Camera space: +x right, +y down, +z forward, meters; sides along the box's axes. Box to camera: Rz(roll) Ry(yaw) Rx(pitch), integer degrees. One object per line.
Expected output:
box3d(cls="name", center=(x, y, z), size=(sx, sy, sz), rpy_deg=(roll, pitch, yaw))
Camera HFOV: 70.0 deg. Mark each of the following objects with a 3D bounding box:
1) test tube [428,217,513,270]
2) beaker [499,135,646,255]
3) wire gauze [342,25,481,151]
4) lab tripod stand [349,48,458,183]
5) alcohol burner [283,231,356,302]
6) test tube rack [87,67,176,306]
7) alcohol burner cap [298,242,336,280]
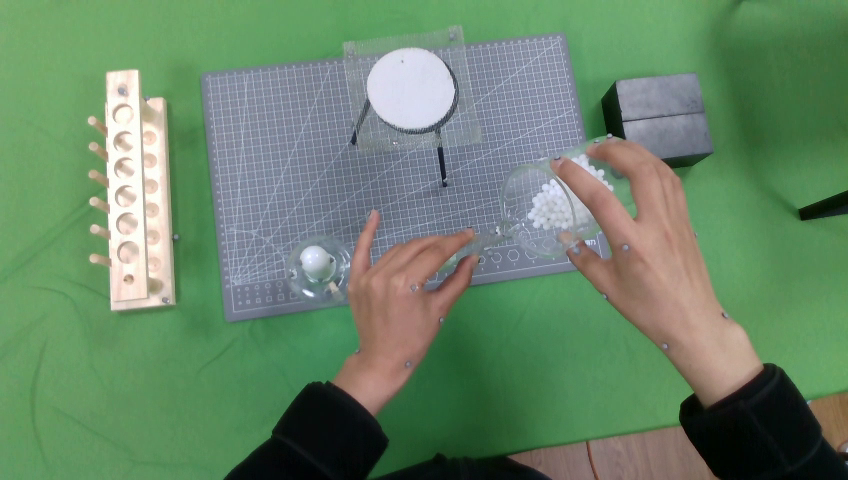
box3d(cls="test tube", center=(0.037, 0.006, 0.551), size=(0.017, 0.150, 0.017), rpy_deg=(6, 74, -22))
box3d(cls="beaker", center=(0.118, -0.038, 0.478), size=(0.100, 0.084, 0.074), rpy_deg=(-23, 83, -33))
box3d(cls="wire gauze", center=(-0.013, -0.150, 0.599), size=(0.125, 0.011, 0.121), rpy_deg=(-7, 81, -5))
box3d(cls="lab tripod stand", center=(-0.014, -0.142, 0.665), size=(0.148, 0.132, 0.147), rpy_deg=(1, 78, -2))
box3d(cls="alcohol burner", center=(-0.111, 0.025, 0.640), size=(0.078, 0.119, 0.077), rpy_deg=(1, 79, -5))
box3d(cls="test tube rack", center=(-0.323, -0.055, 0.657), size=(0.067, 0.085, 0.241), rpy_deg=(-6, 81, -4))
box3d(cls="alcohol burner cap", center=(-0.109, 0.020, 0.605), size=(0.034, 0.048, 0.033), rpy_deg=(0, 74, 2))
